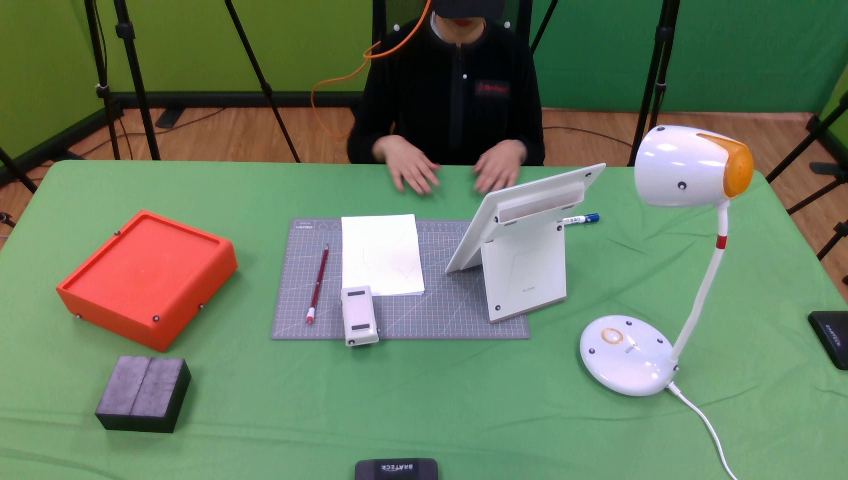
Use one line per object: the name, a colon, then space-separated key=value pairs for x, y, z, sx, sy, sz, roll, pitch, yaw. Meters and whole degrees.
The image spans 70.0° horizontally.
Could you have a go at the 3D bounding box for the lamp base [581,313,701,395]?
lamp base: x=0.361 y=0.144 z=0.973 sx=0.178 sy=0.181 sz=0.160 roll=34 pitch=53 yaw=23

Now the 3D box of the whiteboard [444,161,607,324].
whiteboard: x=0.186 y=0.025 z=1.029 sx=0.217 sy=0.306 sz=0.143 roll=-15 pitch=68 yaw=-18

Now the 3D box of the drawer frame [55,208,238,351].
drawer frame: x=-0.474 y=0.062 z=1.059 sx=0.201 sy=0.083 sz=0.213 roll=18 pitch=48 yaw=12

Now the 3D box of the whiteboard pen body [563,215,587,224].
whiteboard pen body: x=0.291 y=-0.040 z=1.260 sx=0.141 sy=0.017 sz=0.017 roll=-6 pitch=47 yaw=-11

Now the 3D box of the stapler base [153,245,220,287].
stapler base: x=-0.436 y=0.042 z=1.108 sx=0.130 sy=0.024 sz=0.041 roll=23 pitch=49 yaw=15

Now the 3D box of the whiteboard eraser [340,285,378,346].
whiteboard eraser: x=-0.113 y=0.131 z=1.044 sx=0.056 sy=0.042 sz=0.112 roll=-5 pitch=47 yaw=-10

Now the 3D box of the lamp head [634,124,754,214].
lamp head: x=0.351 y=-0.089 z=0.775 sx=0.112 sy=0.113 sz=0.122 roll=-30 pitch=30 yaw=-28

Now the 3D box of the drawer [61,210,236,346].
drawer: x=-0.474 y=0.061 z=1.063 sx=0.194 sy=0.073 sz=0.211 roll=19 pitch=49 yaw=13

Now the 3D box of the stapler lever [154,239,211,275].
stapler lever: x=-0.436 y=0.027 z=1.091 sx=0.118 sy=0.040 sz=0.027 roll=24 pitch=50 yaw=14

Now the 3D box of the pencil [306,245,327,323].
pencil: x=-0.196 y=0.076 z=1.115 sx=0.012 sy=0.012 sz=0.193 roll=4 pitch=44 yaw=0

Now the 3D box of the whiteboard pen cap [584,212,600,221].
whiteboard pen cap: x=0.351 y=-0.049 z=1.271 sx=0.033 sy=0.018 sz=0.018 roll=-6 pitch=47 yaw=-11
